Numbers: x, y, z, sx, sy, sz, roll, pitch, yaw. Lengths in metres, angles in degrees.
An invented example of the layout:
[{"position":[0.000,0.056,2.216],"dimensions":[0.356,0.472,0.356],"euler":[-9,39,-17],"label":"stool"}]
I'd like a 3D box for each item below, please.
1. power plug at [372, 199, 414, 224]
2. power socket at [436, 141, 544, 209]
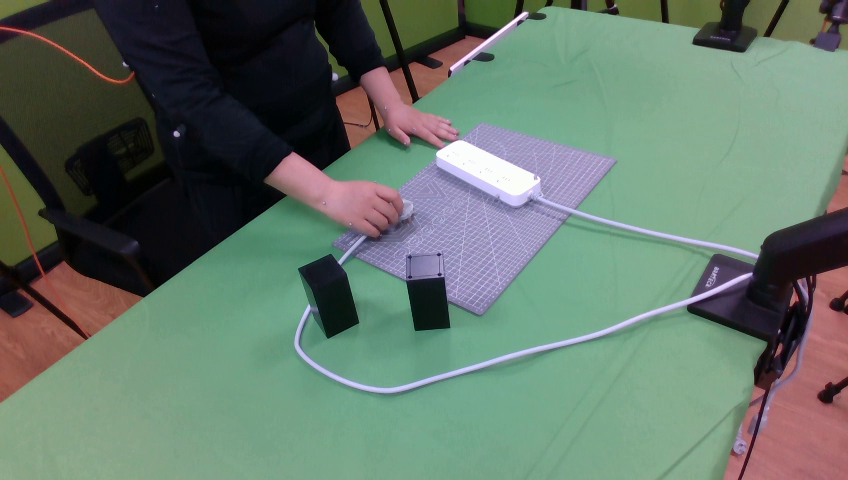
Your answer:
[{"position":[-0.050,-0.041,1.008],"dimensions":[0.072,0.053,0.035],"euler":[-30,46,0],"label":"power plug"},{"position":[0.112,-0.120,1.082],"dimensions":[0.072,0.033,0.224],"euler":[-34,47,-27],"label":"power socket"}]
